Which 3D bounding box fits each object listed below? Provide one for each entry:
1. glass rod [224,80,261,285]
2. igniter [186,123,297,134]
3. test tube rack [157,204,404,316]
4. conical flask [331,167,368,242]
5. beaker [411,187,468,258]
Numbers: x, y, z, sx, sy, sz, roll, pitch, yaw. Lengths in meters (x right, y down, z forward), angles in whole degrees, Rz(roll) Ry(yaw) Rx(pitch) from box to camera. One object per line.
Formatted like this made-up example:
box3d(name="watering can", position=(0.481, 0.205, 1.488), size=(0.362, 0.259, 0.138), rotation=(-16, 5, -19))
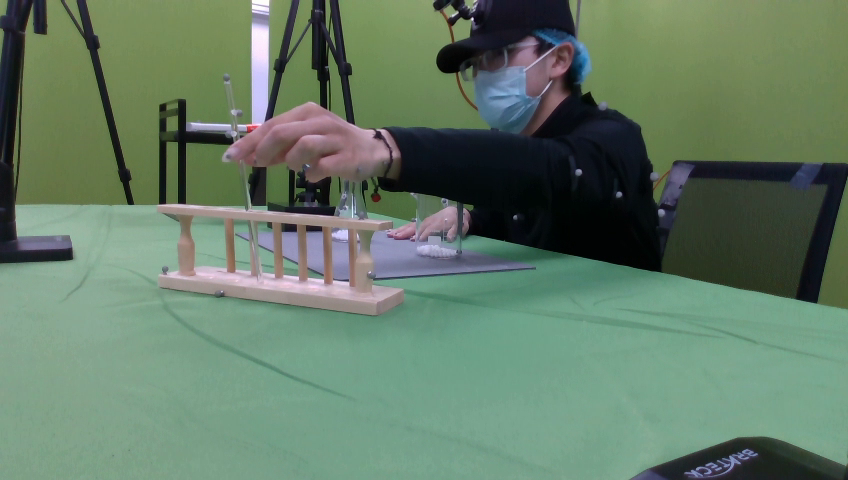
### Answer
box3d(name="glass rod", position=(-0.174, -0.052, 0.582), size=(0.008, 0.199, 0.008), rotation=(-7, 8, 1))
box3d(name="igniter", position=(-0.393, -0.248, 1.341), size=(0.057, 0.025, 0.278), rotation=(9, 14, 38))
box3d(name="test tube rack", position=(-0.143, 0.013, 0.598), size=(0.241, 0.085, 0.067), rotation=(5, 8, 19))
box3d(name="conical flask", position=(-0.124, -0.061, 1.018), size=(0.075, 0.122, 0.075), rotation=(2, 7, 0))
box3d(name="beaker", position=(0.021, -0.027, 0.892), size=(0.084, 0.100, 0.074), rotation=(1, 7, -1))
